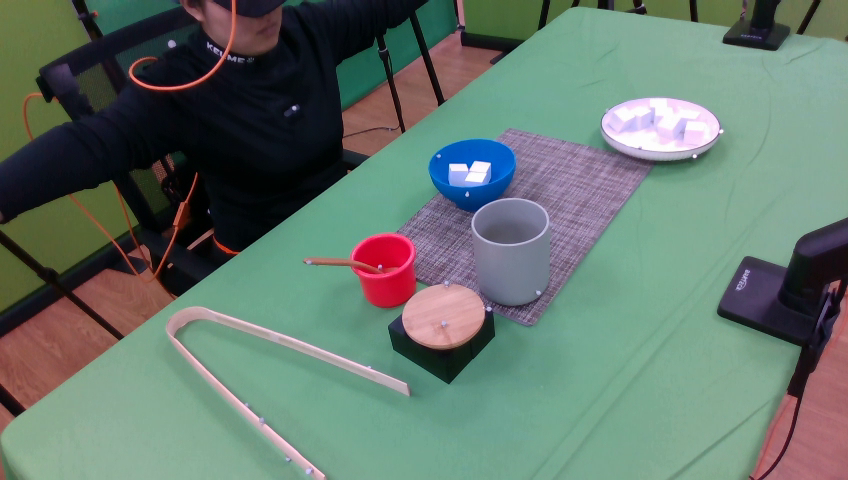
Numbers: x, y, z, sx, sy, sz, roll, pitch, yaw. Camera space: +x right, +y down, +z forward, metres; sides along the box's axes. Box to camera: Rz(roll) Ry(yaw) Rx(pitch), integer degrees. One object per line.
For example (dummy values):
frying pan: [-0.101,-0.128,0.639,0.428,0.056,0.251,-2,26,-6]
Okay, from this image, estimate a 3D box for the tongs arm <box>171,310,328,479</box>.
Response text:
tongs arm: [-0.236,0.192,0.794,0.381,0.026,0.051,24,50,35]

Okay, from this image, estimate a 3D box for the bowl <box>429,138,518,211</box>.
bowl: [0.087,-0.104,1.043,0.151,0.077,0.150,-5,40,5]

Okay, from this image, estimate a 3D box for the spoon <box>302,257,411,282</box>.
spoon: [-0.092,0.038,0.865,0.195,0.021,0.041,16,15,-46]

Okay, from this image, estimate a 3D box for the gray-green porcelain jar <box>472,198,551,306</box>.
gray-green porcelain jar: [0.125,0.021,0.850,0.106,0.127,0.105,-6,40,5]

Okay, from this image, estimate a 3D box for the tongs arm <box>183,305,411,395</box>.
tongs arm: [-0.187,0.148,0.842,0.385,0.028,0.028,13,48,26]

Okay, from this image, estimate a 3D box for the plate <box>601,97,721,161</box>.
plate: [0.436,-0.203,1.126,0.209,0.038,0.208,-5,39,5]

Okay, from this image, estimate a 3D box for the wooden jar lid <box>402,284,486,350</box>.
wooden jar lid: [0.026,0.101,0.786,0.108,0.021,0.108,-5,39,4]
